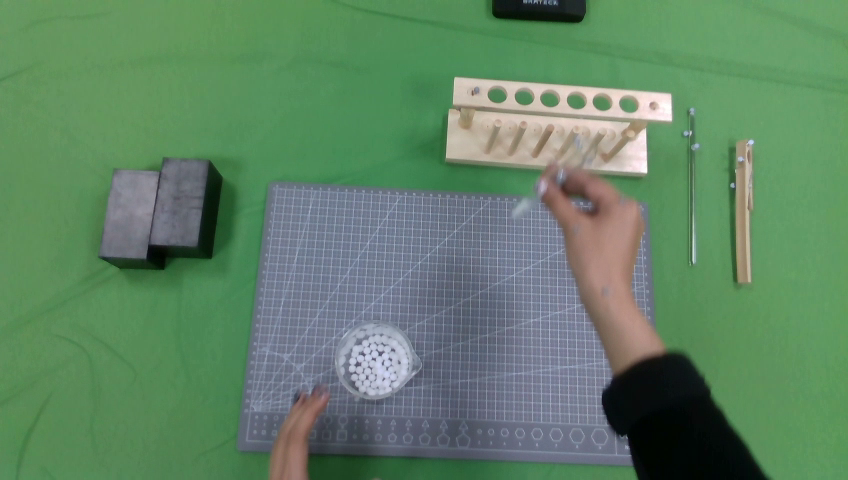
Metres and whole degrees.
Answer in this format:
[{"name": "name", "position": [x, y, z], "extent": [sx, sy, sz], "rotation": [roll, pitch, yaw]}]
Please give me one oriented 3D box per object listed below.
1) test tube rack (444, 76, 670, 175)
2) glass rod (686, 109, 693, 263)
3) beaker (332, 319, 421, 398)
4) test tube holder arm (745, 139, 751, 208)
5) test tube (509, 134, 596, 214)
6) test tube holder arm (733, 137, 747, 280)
[{"name": "test tube rack", "position": [0.148, -0.130, 0.702], "extent": [0.242, 0.085, 0.066], "rotation": [4, 74, -2]}, {"name": "glass rod", "position": [0.321, -0.069, 0.734], "extent": [0.008, 0.008, 0.198], "rotation": [7, 75, -1]}, {"name": "beaker", "position": [-0.047, 0.124, 0.614], "extent": [0.084, 0.100, 0.073], "rotation": [7, 75, -1]}, {"name": "test tube holder arm", "position": [0.388, -0.081, 0.736], "extent": [0.010, 0.015, 0.087], "rotation": [18, 73, -29]}, {"name": "test tube", "position": [0.113, -0.056, 0.558], "extent": [0.017, 0.150, 0.017], "rotation": [5, 70, -15]}, {"name": "test tube holder arm", "position": [0.377, -0.039, 0.721], "extent": [0.013, 0.015, 0.177], "rotation": [17, 73, -29]}]
